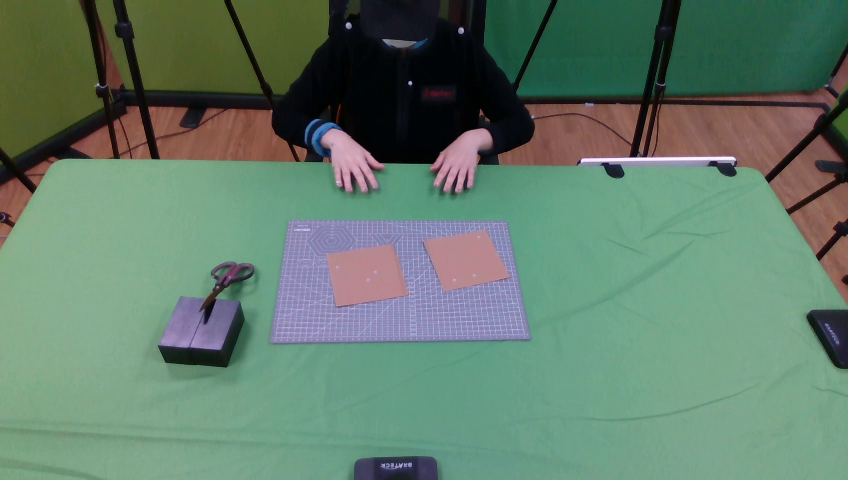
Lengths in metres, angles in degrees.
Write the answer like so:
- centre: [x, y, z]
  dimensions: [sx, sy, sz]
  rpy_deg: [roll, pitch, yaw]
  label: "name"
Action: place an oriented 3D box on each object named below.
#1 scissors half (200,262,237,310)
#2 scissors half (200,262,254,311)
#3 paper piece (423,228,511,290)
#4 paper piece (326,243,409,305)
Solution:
- centre: [-0.363, 0.079, 1.058]
  dimensions: [0.040, 0.013, 0.174]
  rpy_deg: [1, 23, -5]
  label: "scissors half"
- centre: [-0.343, 0.079, 1.058]
  dimensions: [0.040, 0.013, 0.174]
  rpy_deg: [3, 24, 13]
  label: "scissors half"
- centre: [0.082, 0.034, 1.177]
  dimensions: [0.138, 0.009, 0.135]
  rpy_deg: [-8, 52, -15]
  label: "paper piece"
- centre: [-0.108, 0.061, 1.135]
  dimensions: [0.136, 0.004, 0.134]
  rpy_deg: [-8, 46, -12]
  label: "paper piece"
